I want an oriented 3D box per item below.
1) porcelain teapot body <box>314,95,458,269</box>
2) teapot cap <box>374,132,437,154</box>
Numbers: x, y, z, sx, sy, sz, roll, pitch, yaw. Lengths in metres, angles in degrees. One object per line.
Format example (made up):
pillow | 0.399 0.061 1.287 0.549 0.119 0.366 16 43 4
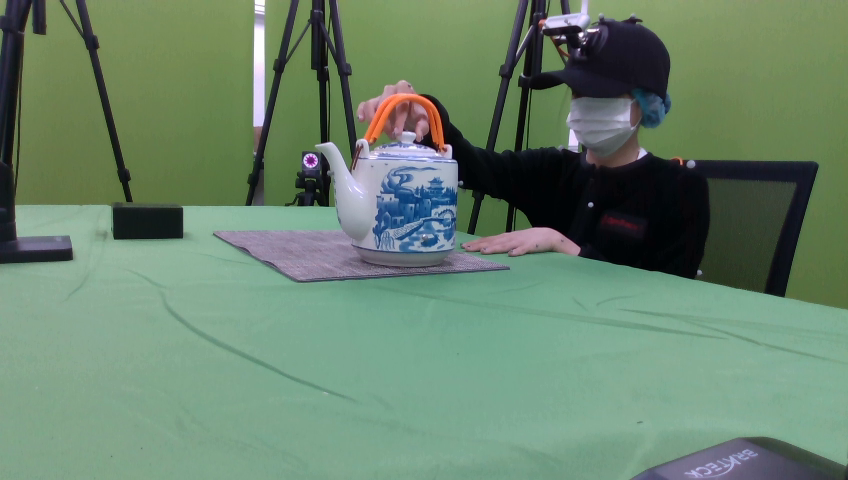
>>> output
porcelain teapot body | -0.049 -0.079 0.800 0.206 0.225 0.144 -3 9 -37
teapot cap | -0.024 -0.123 0.809 0.085 0.044 0.085 3 8 0
